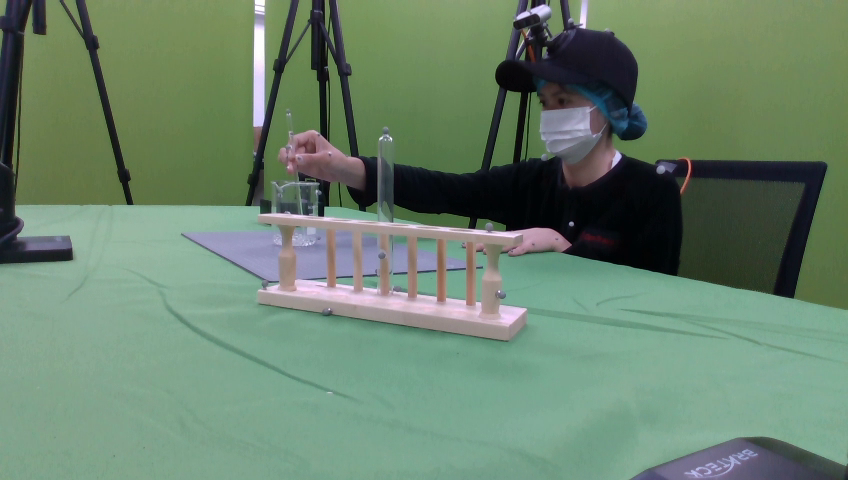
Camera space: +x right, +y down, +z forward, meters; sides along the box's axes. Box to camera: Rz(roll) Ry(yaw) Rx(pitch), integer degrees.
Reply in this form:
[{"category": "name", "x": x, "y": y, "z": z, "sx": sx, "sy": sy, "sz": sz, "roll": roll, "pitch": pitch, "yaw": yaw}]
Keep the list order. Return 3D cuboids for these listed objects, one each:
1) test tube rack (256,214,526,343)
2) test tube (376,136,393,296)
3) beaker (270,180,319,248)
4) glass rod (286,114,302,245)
[{"category": "test tube rack", "x": -0.032, "y": 0.027, "z": 0.547, "sx": 0.241, "sy": 0.085, "sz": 0.067, "roll": 5, "pitch": 7, "yaw": 22}, {"category": "test tube", "x": -0.037, "y": -0.021, "z": 0.565, "sx": 0.017, "sy": 0.150, "sz": 0.017, "roll": 1, "pitch": 6, "yaw": 0}, {"category": "beaker", "x": -0.203, "y": -0.040, "z": 0.935, "sx": 0.074, "sy": 0.100, "sz": 0.084, "roll": 5, "pitch": 8, "yaw": 18}, {"category": "glass rod", "x": -0.198, "y": -0.090, "z": 0.918, "sx": 0.008, "sy": 0.199, "sz": 0.008, "roll": -4, "pitch": 8, "yaw": 1}]
